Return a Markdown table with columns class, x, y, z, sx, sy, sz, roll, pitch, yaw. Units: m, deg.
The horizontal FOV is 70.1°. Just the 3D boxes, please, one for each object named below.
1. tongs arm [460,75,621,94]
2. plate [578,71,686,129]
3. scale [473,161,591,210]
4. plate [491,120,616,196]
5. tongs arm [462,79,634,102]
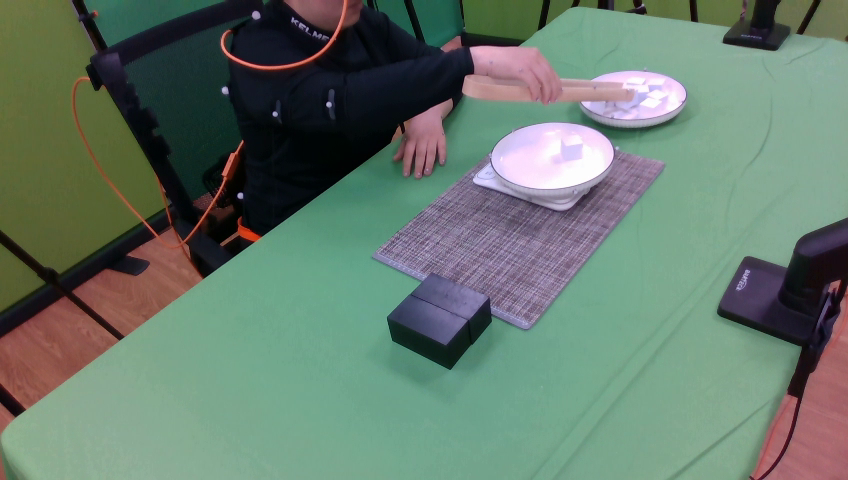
| class | x | y | z | sx | sy | sz | roll | pitch | yaw |
| --- | --- | --- | --- | --- | --- | --- | --- | --- | --- |
| tongs arm | 0.223 | -0.278 | 1.098 | 0.390 | 0.028 | 0.028 | -7 | 37 | -31 |
| plate | 0.416 | -0.279 | 1.222 | 0.209 | 0.038 | 0.208 | -5 | 41 | 5 |
| scale | 0.202 | -0.121 | 1.074 | 0.199 | 0.032 | 0.149 | 23 | 49 | 33 |
| plate | 0.221 | -0.137 | 1.038 | 0.207 | 0.039 | 0.206 | -6 | 41 | 5 |
| tongs arm | 0.234 | -0.266 | 1.081 | 0.388 | 0.026 | 0.050 | -10 | 35 | -34 |
